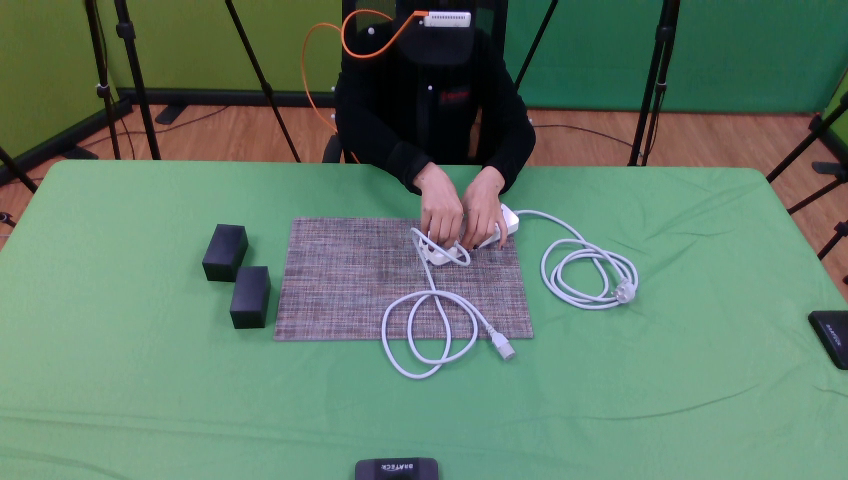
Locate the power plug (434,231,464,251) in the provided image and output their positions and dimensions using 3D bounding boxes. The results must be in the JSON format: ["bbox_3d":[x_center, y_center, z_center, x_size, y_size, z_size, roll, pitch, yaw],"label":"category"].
[{"bbox_3d":[0.045,0.015,1.141,0.035,0.053,0.072,-15,46,-14],"label":"power plug"}]

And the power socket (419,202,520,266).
[{"bbox_3d":[0.092,-0.014,1.204,0.227,0.033,0.072,-23,52,-24],"label":"power socket"}]
